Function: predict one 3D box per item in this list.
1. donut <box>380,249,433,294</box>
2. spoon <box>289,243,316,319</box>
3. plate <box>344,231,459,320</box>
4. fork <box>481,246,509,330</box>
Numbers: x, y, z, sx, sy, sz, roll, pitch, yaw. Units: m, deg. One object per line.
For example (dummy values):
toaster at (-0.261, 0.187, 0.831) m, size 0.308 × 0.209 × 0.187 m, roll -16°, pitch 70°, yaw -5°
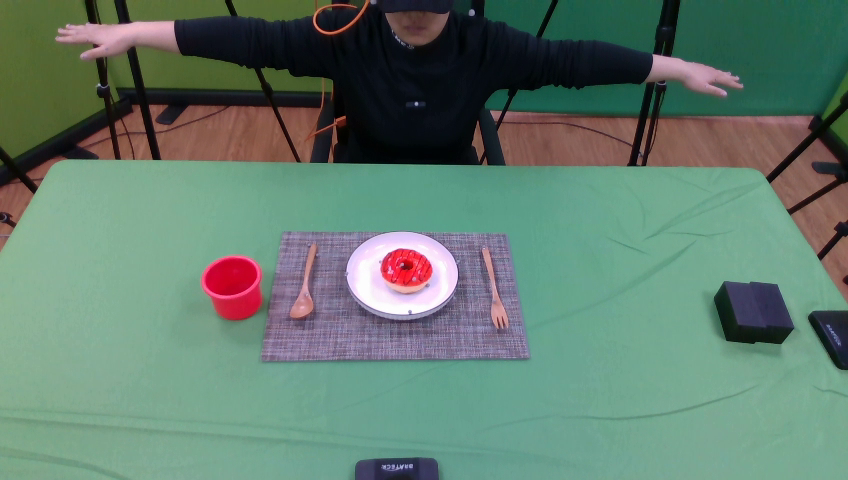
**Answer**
donut at (-0.032, 0.056, 1.111) m, size 0.099 × 0.048 × 0.098 m, roll 4°, pitch 43°, yaw -3°
spoon at (-0.215, 0.071, 1.108) m, size 0.041 × 0.022 × 0.192 m, roll -10°, pitch 45°, yaw 10°
plate at (-0.042, 0.068, 1.115) m, size 0.209 × 0.038 × 0.208 m, roll 2°, pitch 46°, yaw -2°
fork at (0.128, 0.084, 1.125) m, size 0.028 × 0.019 × 0.206 m, roll -7°, pitch 48°, yaw -1°
